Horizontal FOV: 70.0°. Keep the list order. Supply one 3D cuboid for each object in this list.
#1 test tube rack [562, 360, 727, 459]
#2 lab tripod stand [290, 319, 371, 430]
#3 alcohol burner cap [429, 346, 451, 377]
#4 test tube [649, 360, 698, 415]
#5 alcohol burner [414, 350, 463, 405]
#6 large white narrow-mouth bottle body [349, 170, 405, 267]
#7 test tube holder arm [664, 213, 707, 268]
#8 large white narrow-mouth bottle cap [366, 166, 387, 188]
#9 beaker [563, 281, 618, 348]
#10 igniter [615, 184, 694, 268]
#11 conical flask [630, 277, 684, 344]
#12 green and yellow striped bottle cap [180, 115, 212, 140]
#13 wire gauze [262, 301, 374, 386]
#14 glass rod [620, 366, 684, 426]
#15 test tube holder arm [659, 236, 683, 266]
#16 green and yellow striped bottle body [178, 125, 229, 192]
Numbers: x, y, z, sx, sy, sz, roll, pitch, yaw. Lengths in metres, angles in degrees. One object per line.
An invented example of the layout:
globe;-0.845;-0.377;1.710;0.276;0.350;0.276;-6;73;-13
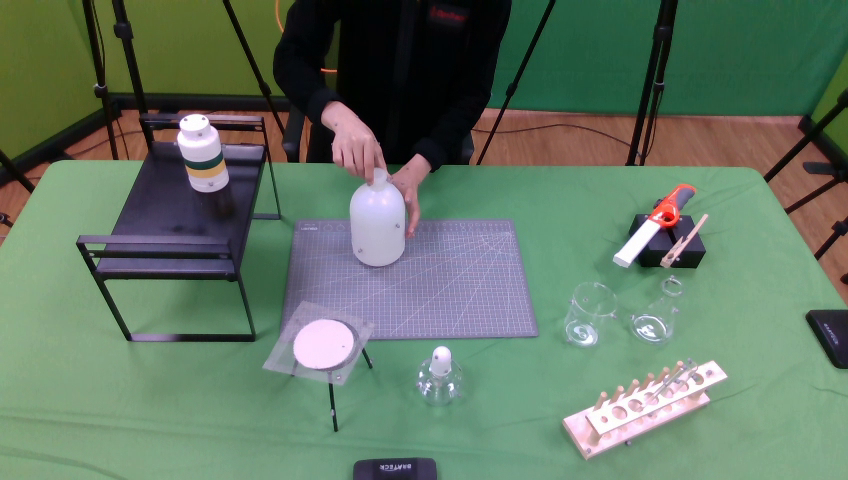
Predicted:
test tube rack;0.341;0.247;0.940;0.243;0.085;0.066;-16;49;-18
lab tripod stand;-0.146;0.193;0.923;0.148;0.132;0.147;1;47;-1
alcohol burner cap;0.026;0.180;0.912;0.034;0.048;0.033;1;47;-1
test tube;0.365;0.222;0.898;0.017;0.151;0.017;4;49;-5
alcohol burner;0.023;0.205;0.939;0.078;0.120;0.077;1;48;-1
large white narrow-mouth bottle body;-0.086;-0.047;1.111;0.102;0.195;0.101;1;45;-1
test tube holder arm;0.507;-0.001;1.171;0.013;0.015;0.178;34;54;26
large white narrow-mouth bottle cap;-0.083;-0.109;1.051;0.038;0.024;0.037;1;45;-1
beaker;0.283;0.129;1.041;0.074;0.101;0.083;11;46;6
igniter;0.459;-0.035;1.197;0.057;0.025;0.276;32;55;27
conical flask;0.408;0.117;1.045;0.075;0.122;0.075;2;46;-2
green and yellow striped bottle cap;-0.358;-0.177;0.951;0.045;0.020;0.045;2;45;-1
wire gauze;-0.150;0.148;0.873;0.121;0.011;0.124;14;46;12
glass rod;0.322;0.227;0.866;0.008;0.200;0.008;5;51;-7
test tube holder arm;0.472;0.020;1.149;0.010;0.015;0.088;35;54;27
green and yellow striped bottle body;-0.361;-0.142;0.989;0.063;0.120;0.063;2;46;-2
